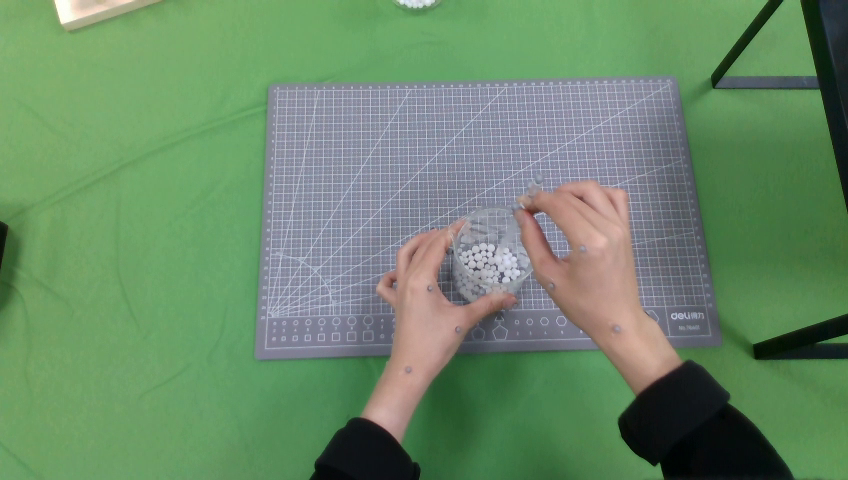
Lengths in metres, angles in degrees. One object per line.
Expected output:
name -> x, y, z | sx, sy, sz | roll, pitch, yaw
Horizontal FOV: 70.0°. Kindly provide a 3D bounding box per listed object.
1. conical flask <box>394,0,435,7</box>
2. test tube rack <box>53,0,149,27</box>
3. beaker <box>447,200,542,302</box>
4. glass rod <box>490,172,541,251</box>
conical flask -> -0.011, -0.318, 0.651 | 0.075, 0.122, 0.075 | 0, 72, 0
test tube rack -> -0.307, -0.326, 0.668 | 0.242, 0.085, 0.066 | -22, 74, -7
beaker -> 0.059, 0.014, 0.559 | 0.084, 0.101, 0.073 | 23, 73, 7
glass rod -> 0.073, -0.018, 0.507 | 0.008, 0.200, 0.008 | 1, 75, -2
